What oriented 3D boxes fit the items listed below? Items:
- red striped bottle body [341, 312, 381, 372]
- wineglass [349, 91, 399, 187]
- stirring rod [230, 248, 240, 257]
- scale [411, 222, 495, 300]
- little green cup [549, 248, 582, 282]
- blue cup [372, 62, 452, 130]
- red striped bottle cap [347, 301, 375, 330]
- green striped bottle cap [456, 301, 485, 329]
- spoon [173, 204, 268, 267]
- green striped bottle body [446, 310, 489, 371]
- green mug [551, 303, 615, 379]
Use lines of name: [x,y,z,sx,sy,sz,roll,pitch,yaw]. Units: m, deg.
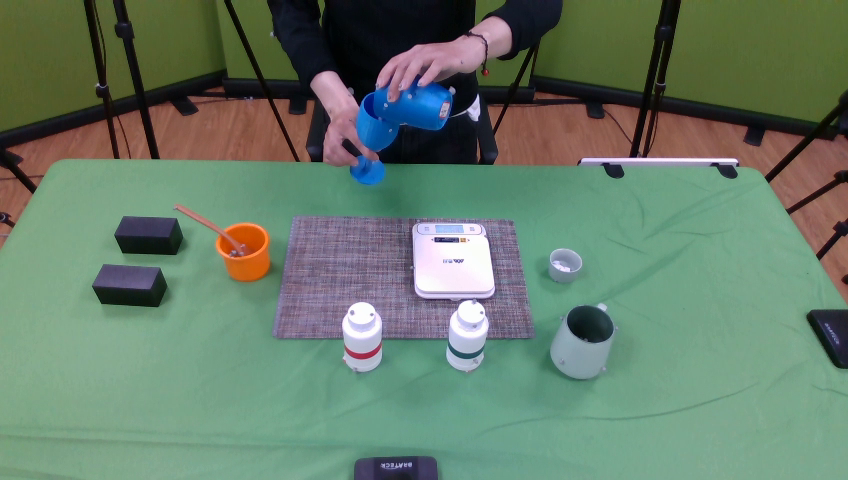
red striped bottle body: [-0.100,0.154,0.972,0.063,0.120,0.062,2,45,-2]
wineglass: [-0.086,-0.170,1.028,0.074,0.173,0.073,6,59,-10]
stirring rod: [-0.330,0.023,1.059,0.014,0.176,0.006,33,79,-12]
scale: [0.052,0.031,1.158,0.149,0.032,0.199,1,46,-4]
little green cup: [0.268,0.050,1.156,0.061,0.039,0.061,1,46,-1]
blue cup: [-0.014,-0.211,0.916,0.100,0.093,0.092,23,49,14]
red striped bottle cap: [-0.097,0.116,0.934,0.044,0.018,0.044,2,49,-3]
green striped bottle cap: [0.073,0.116,0.943,0.044,0.020,0.044,4,46,-3]
spoon: [-0.363,-0.009,1.089,0.021,0.195,0.041,-35,31,23]
green striped bottle body: [0.070,0.155,0.984,0.063,0.120,0.063,2,46,-2]
green mug: [0.271,0.157,1.007,0.092,0.105,0.125,27,50,21]
